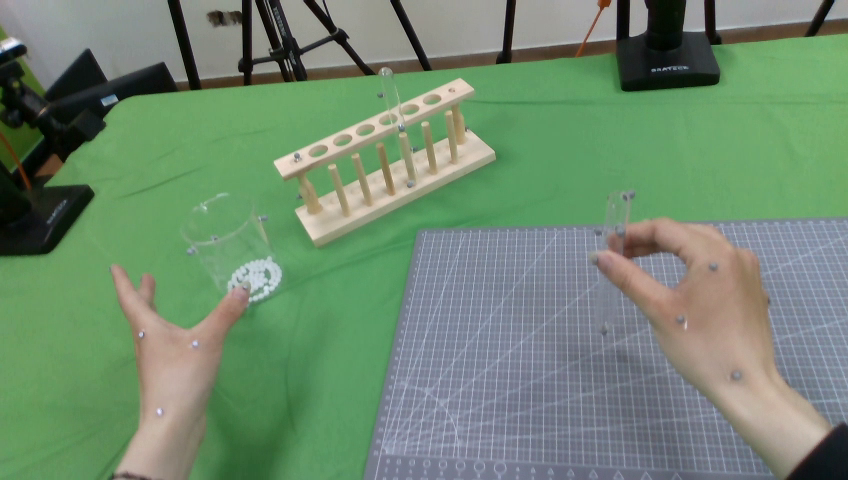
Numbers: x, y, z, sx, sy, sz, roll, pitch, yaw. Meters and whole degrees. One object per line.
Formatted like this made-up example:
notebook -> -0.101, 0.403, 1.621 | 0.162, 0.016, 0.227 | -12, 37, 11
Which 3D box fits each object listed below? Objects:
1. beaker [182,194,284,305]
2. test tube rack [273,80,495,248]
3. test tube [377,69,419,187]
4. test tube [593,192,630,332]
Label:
beaker -> -0.195, 0.012, 0.630 | 0.074, 0.101, 0.083 | -38, 48, -23
test tube rack -> -0.040, -0.091, 0.703 | 0.242, 0.086, 0.066 | -27, 46, -13
test tube -> -0.027, -0.119, 0.663 | 0.017, 0.152, 0.017 | -8, 44, 8
test tube -> 0.139, 0.023, 0.456 | 0.017, 0.152, 0.017 | -5, 47, 6
